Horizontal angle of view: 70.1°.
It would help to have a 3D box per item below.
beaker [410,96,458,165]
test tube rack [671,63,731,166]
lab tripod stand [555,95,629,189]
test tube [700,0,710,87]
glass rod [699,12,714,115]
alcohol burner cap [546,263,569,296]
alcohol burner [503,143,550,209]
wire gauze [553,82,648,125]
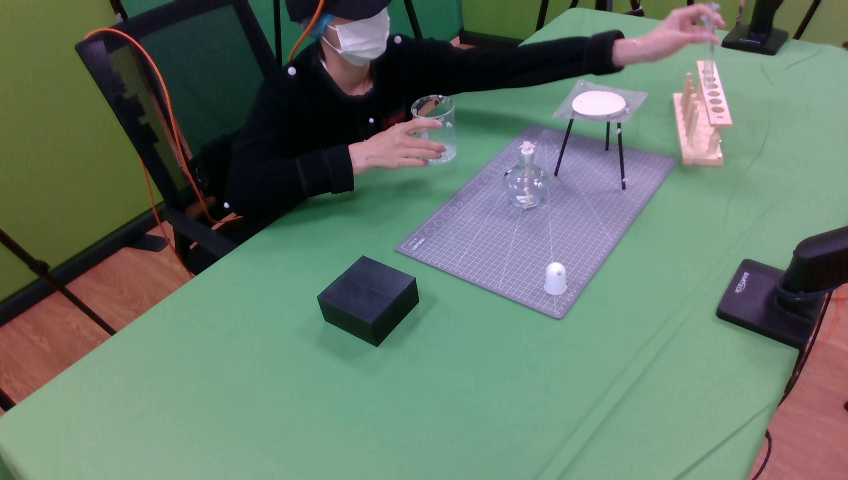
[{"bbox_3d":[0.022,-0.188,1.044,0.073,0.101,0.084,16,48,26],"label":"beaker"},{"bbox_3d":[0.513,-0.241,1.132,0.066,0.085,0.242,4,41,14],"label":"test tube rack"},{"bbox_3d":[0.300,-0.174,1.045,0.148,0.132,0.147,-5,38,5],"label":"lab tripod stand"},{"bbox_3d":[0.472,-0.328,1.014,0.017,0.151,0.017,-13,36,10],"label":"test tube"},{"bbox_3d":[0.526,-0.323,1.124,0.008,0.201,0.008,-8,38,6],"label":"glass rod"},{"bbox_3d":[0.191,0.053,0.862,0.034,0.048,0.033,-5,40,4],"label":"alcohol burner cap"},{"bbox_3d":[0.171,-0.112,1.006,0.078,0.119,0.077,-3,41,3],"label":"alcohol burner"},{"bbox_3d":[0.293,-0.226,1.002,0.120,0.011,0.125,17,45,27],"label":"wire gauze"}]
